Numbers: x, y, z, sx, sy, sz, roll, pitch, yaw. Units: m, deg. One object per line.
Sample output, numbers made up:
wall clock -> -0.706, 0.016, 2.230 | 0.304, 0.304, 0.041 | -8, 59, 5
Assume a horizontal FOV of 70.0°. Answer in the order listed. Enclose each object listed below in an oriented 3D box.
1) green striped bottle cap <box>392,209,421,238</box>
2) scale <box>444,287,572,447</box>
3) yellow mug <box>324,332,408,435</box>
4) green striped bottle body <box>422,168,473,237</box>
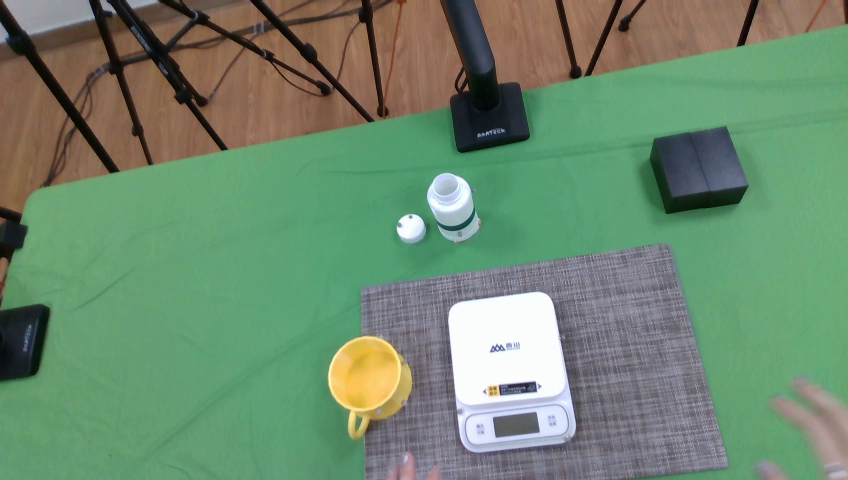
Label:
green striped bottle cap -> -0.027, -0.026, 0.938 | 0.044, 0.020, 0.044 | -3, 71, 9
scale -> 0.107, 0.164, 0.807 | 0.148, 0.032, 0.199 | -9, 64, 8
yellow mug -> -0.081, 0.195, 0.813 | 0.099, 0.064, 0.130 | 8, 68, 16
green striped bottle body -> 0.035, -0.057, 0.880 | 0.063, 0.120, 0.062 | -5, 64, 10
